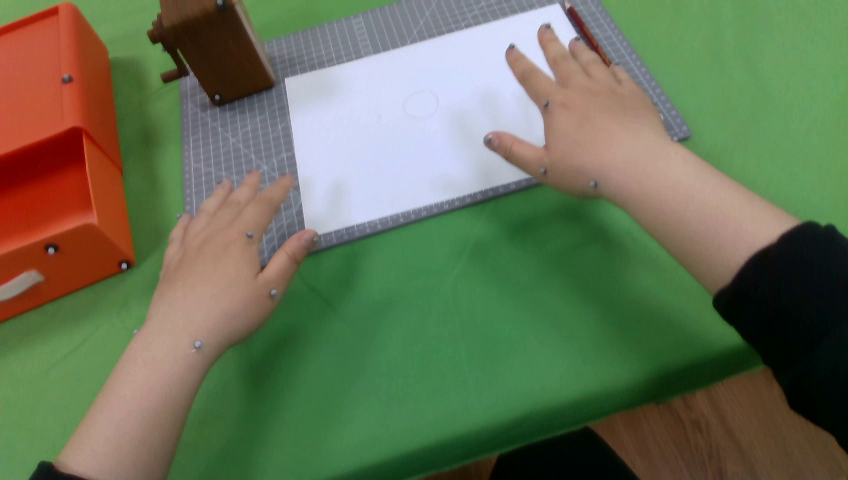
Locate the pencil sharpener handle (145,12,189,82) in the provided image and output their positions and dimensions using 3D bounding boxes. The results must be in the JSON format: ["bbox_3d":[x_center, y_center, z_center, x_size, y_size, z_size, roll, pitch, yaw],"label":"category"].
[{"bbox_3d":[-0.256,-0.185,0.590,0.030,0.068,0.035,-22,54,-3],"label":"pencil sharpener handle"}]

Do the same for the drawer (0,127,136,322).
[{"bbox_3d":[-0.382,-0.033,0.552,0.194,0.074,0.209,-24,56,-4],"label":"drawer"}]

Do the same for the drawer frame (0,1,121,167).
[{"bbox_3d":[-0.426,-0.122,0.614,0.202,0.083,0.211,-23,56,-4],"label":"drawer frame"}]

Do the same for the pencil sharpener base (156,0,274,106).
[{"bbox_3d":[-0.207,-0.198,0.603,0.077,0.108,0.060,-22,57,-3],"label":"pencil sharpener base"}]

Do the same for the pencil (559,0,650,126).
[{"bbox_3d":[0.167,-0.176,0.578,0.012,0.012,0.192,-18,55,-1],"label":"pencil"}]
